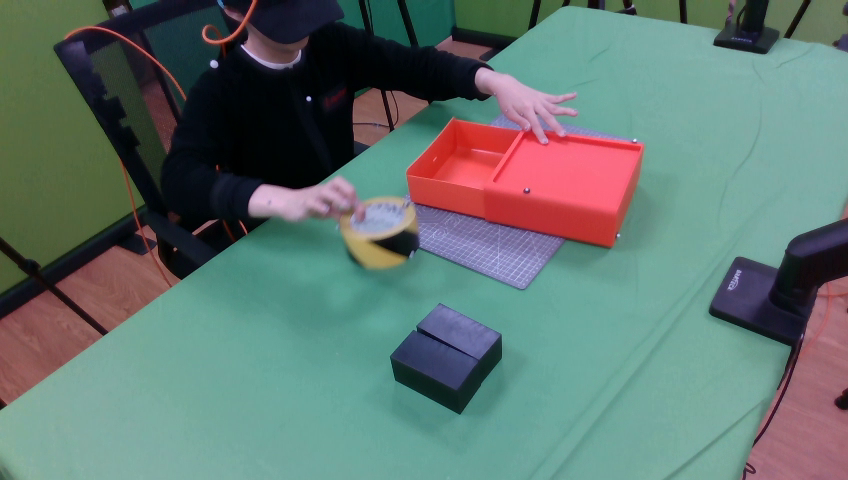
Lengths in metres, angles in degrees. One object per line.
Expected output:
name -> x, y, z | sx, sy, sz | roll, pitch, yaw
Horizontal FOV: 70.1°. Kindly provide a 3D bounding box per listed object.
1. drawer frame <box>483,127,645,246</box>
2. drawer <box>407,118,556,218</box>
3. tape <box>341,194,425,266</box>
drawer frame -> 0.234, -0.096, 1.003 | 0.212, 0.083, 0.202 | 13, 44, 22
drawer -> 0.108, -0.126, 1.059 | 0.210, 0.073, 0.194 | 14, 44, 24
tape -> -0.058, -0.015, 0.871 | 0.117, 0.053, 0.116 | -6, 36, 5
